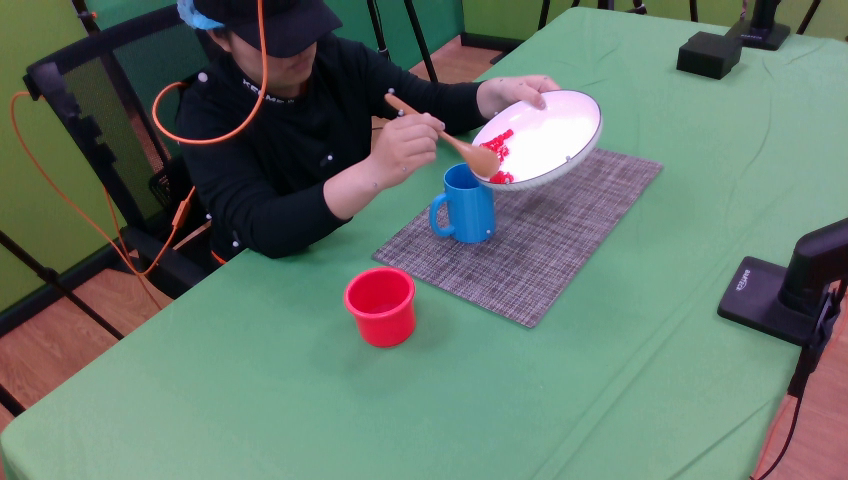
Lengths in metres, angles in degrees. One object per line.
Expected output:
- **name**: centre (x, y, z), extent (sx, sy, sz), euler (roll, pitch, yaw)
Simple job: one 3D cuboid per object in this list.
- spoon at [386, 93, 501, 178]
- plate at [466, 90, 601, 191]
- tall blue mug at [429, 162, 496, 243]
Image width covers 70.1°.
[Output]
- **spoon**: centre (0.028, -0.147, 0.850), extent (0.194, 0.041, 0.021), euler (32, 12, -12)
- **plate**: centre (0.165, -0.144, 0.911), extent (0.207, 0.039, 0.206), euler (-20, 40, 18)
- **tall blue mug**: centre (0.067, -0.051, 0.960), extent (0.077, 0.108, 0.107), euler (18, 47, 27)
